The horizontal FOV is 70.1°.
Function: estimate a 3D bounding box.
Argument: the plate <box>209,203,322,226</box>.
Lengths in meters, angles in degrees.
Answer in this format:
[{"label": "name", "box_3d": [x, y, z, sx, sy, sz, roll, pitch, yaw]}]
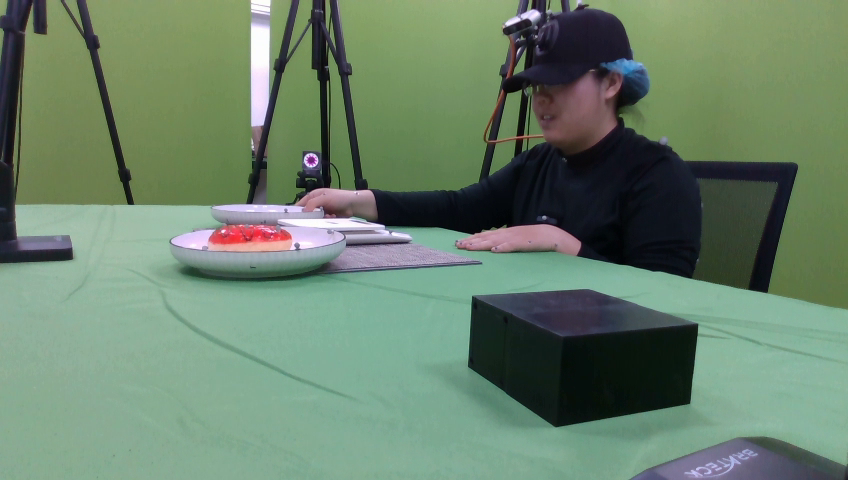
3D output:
[{"label": "plate", "box_3d": [-0.299, -0.043, 1.153, 0.208, 0.039, 0.207, 2, 7, 0]}]

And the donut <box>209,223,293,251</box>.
[{"label": "donut", "box_3d": [-0.210, 0.004, 0.738, 0.099, 0.048, 0.099, 0, 8, 0]}]

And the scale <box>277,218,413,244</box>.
[{"label": "scale", "box_3d": [-0.134, -0.016, 1.015, 0.202, 0.031, 0.148, -1, 9, -33]}]

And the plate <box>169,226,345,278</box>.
[{"label": "plate", "box_3d": [-0.202, 0.014, 0.748, 0.209, 0.038, 0.209, 1, 9, 0]}]
